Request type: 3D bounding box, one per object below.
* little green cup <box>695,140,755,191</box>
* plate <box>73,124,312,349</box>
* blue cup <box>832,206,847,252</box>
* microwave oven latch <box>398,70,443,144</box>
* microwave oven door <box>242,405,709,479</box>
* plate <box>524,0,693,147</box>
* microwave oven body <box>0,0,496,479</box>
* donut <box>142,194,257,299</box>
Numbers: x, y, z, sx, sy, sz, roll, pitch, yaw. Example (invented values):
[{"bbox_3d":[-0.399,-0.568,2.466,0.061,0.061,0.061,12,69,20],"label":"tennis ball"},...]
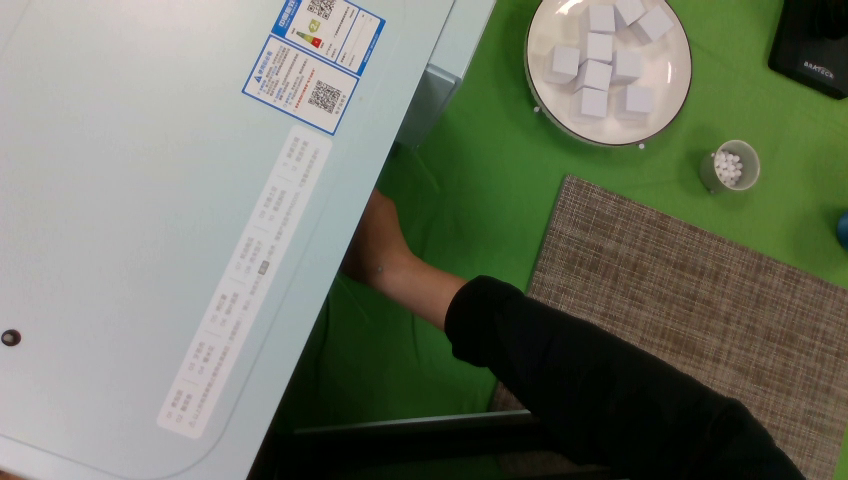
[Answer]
[{"bbox_3d":[0.365,-0.088,0.739,0.062,0.038,0.061,1,85,-10],"label":"little green cup"},{"bbox_3d":[-0.210,-0.004,0.566,0.209,0.038,0.208,1,83,-8],"label":"plate"},{"bbox_3d":[0.565,-0.016,0.741,0.093,0.100,0.092,0,88,-10],"label":"blue cup"},{"bbox_3d":[-0.008,-0.146,0.654,0.030,0.029,0.079,28,83,-8],"label":"microwave oven latch"},{"bbox_3d":[0.022,0.199,0.537,0.357,0.243,0.039,-1,85,-11],"label":"microwave oven door"},{"bbox_3d":[0.215,-0.210,0.719,0.208,0.039,0.207,1,86,-11],"label":"plate"},{"bbox_3d":[-0.193,-0.050,0.516,0.327,0.260,0.440,24,83,-9],"label":"microwave oven body"},{"bbox_3d":[-0.201,0.007,0.548,0.099,0.048,0.098,3,70,-9],"label":"donut"}]
